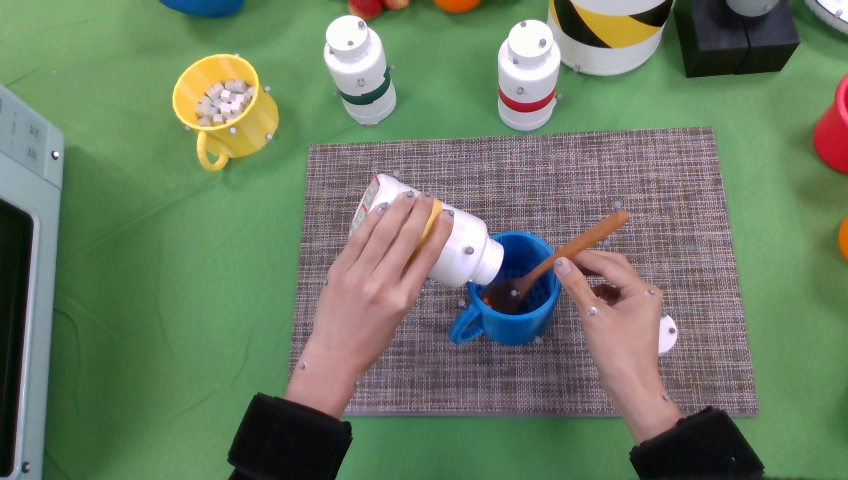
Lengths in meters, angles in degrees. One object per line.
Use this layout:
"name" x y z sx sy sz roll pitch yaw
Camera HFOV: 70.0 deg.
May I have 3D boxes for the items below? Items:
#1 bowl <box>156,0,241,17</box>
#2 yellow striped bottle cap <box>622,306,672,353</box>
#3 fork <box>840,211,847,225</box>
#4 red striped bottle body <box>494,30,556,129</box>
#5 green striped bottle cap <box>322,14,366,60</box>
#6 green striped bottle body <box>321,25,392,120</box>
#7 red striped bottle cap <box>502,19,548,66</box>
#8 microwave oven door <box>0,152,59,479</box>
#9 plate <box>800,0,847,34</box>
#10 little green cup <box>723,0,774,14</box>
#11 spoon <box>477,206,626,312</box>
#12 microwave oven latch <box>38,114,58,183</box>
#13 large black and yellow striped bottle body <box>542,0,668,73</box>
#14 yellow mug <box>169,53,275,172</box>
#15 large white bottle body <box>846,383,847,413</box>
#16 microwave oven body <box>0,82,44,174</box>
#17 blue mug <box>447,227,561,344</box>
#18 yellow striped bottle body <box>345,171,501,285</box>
"bowl" -0.278 -0.338 0.764 0.151 0.077 0.150 -2 70 6
"yellow striped bottle cap" 0.215 0.086 0.584 0.044 0.019 0.044 -2 70 7
"fork" 0.460 0.006 0.517 0.028 0.019 0.205 -39 26 -7
"red striped bottle body" 0.106 -0.174 0.638 0.063 0.120 0.062 -3 68 8
"green striped bottle cap" -0.081 -0.207 0.616 0.044 0.020 0.044 -2 70 5
"green striped bottle body" -0.074 -0.188 0.664 0.063 0.120 0.063 -2 70 6
"red striped bottle cap" 0.099 -0.193 0.589 0.044 0.018 0.044 -1 69 2
"microwave oven door" -0.425 0.064 0.530 0.039 0.245 0.353 -11 69 3
"plate" 0.515 -0.306 0.682 0.209 0.038 0.207 -2 71 6
"little green cup" 0.345 -0.270 0.634 0.061 0.039 0.061 -1 68 4
"spoon" 0.101 0.024 0.523 0.022 0.194 0.041 3 62 -28
"microwave oven latch" -0.444 -0.104 0.700 0.030 0.030 0.078 -9 70 3
"large black and yellow striped bottle body" 0.194 -0.279 0.631 0.130 0.185 0.130 -2 70 6
"yellow mug" -0.234 -0.140 0.694 0.100 0.064 0.130 8 72 9
"large white bottle body" 0.434 0.124 0.458 0.130 0.186 0.129 -2 69 6
"microwave oven body" -0.574 0.053 0.556 0.326 0.262 0.438 -10 70 2
"blue mug" 0.068 0.056 0.563 0.116 0.106 0.082 -37 69 -8
"yellow striped bottle body" 0.003 -0.004 0.491 0.121 0.063 0.062 23 72 -16
